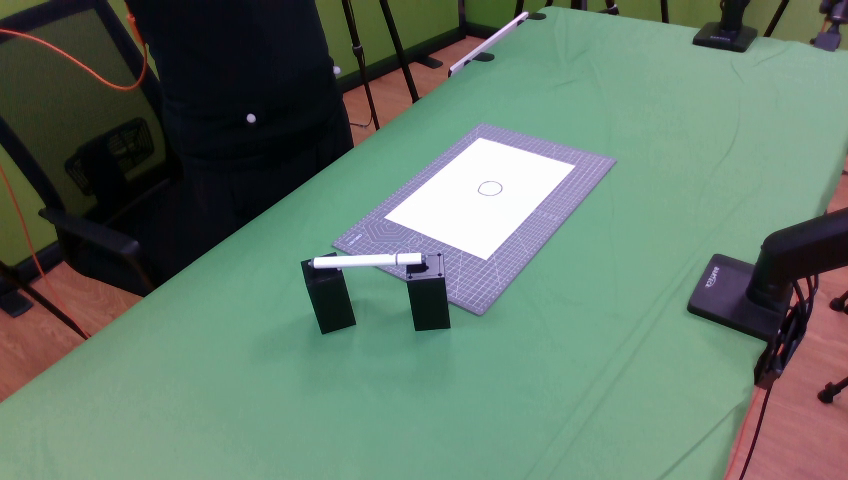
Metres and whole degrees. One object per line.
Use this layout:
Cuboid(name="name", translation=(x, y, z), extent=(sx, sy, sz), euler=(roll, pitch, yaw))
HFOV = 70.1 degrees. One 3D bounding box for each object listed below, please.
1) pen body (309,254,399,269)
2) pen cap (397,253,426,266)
Cuboid(name="pen body", translation=(-0.079, 0.029, 0.797), extent=(0.144, 0.017, 0.017), euler=(-3, 40, 5))
Cuboid(name="pen cap", translation=(-0.016, 0.026, 0.791), extent=(0.038, 0.017, 0.017), euler=(-3, 40, 3))
